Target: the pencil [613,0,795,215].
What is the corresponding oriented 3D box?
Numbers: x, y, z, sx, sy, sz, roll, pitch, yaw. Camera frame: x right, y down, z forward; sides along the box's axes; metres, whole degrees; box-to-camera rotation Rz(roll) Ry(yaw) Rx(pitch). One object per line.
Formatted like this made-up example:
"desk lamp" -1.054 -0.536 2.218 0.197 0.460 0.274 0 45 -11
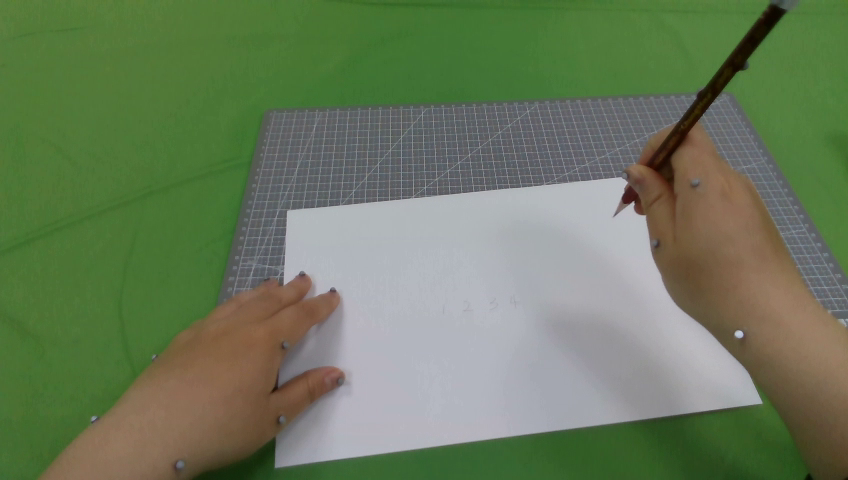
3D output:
"pencil" 0.136 -0.065 0.308 0.012 0.195 0.012 4 60 -7
